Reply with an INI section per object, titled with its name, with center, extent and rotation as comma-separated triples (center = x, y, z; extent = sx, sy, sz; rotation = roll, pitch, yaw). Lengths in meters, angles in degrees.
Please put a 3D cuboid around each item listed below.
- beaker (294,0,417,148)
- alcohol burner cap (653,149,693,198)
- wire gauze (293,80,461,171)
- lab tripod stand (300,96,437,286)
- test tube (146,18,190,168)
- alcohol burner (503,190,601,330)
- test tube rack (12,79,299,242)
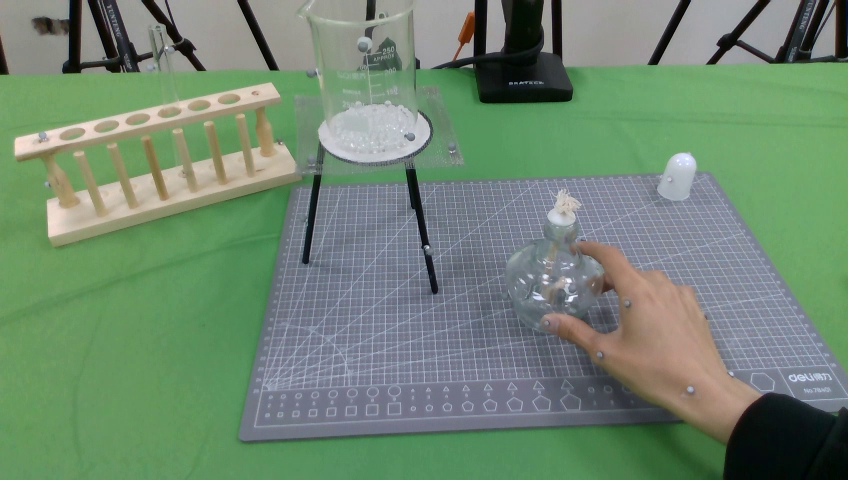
[beaker]
center = -0.045, -0.124, 0.437
extent = 0.084, 0.101, 0.073
rotation = -1, 42, 2
[alcohol burner cap]
center = 0.255, -0.071, 0.617
extent = 0.034, 0.048, 0.033
rotation = 0, 42, 0
[wire gauze]
center = -0.042, -0.090, 0.473
extent = 0.125, 0.011, 0.120
rotation = -8, 40, -4
[lab tripod stand]
center = -0.041, -0.042, 0.517
extent = 0.148, 0.133, 0.147
rotation = -1, 44, 1
[test tube]
center = -0.248, -0.137, 0.589
extent = 0.017, 0.151, 0.017
rotation = 3, 36, -2
[alcohol burner]
center = 0.101, 0.013, 0.471
extent = 0.078, 0.120, 0.077
rotation = -1, 40, 1
[test tube rack]
center = -0.257, -0.084, 0.604
extent = 0.243, 0.086, 0.066
rotation = -18, 45, -19
